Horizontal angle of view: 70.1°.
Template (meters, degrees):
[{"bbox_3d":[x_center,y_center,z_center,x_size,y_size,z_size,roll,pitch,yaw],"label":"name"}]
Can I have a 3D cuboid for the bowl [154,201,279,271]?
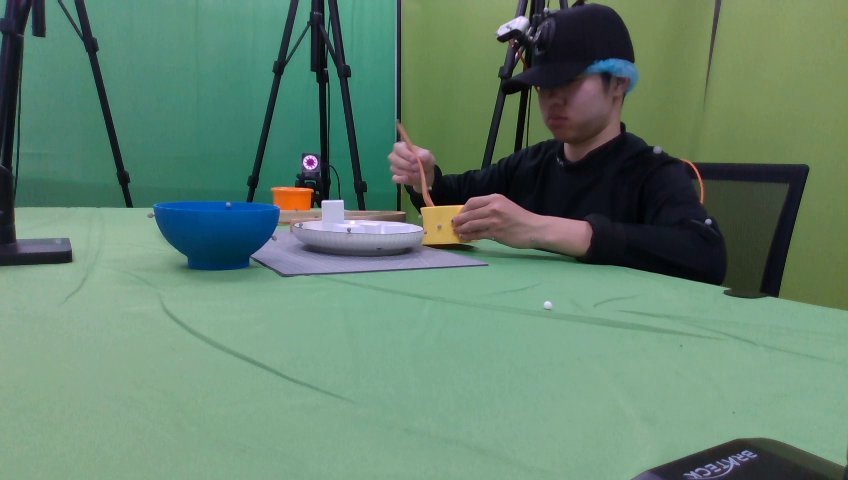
[{"bbox_3d":[-0.263,-0.005,0.773,0.151,0.077,0.151,3,8,0],"label":"bowl"}]

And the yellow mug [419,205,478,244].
[{"bbox_3d":[0.051,-0.027,1.042,0.100,0.064,0.130,-4,3,-30],"label":"yellow mug"}]

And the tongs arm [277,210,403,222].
[{"bbox_3d":[-0.206,-0.052,1.333,0.387,0.026,0.050,-2,8,-44],"label":"tongs arm"}]

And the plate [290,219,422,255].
[{"bbox_3d":[-0.108,-0.005,0.963,0.208,0.039,0.207,3,7,0],"label":"plate"}]

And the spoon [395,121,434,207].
[{"bbox_3d":[-0.010,-0.127,1.071,0.021,0.193,0.042,-22,-11,11],"label":"spoon"}]

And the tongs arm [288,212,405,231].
[{"bbox_3d":[-0.146,-0.041,1.280,0.028,0.028,0.389,2,5,33],"label":"tongs arm"}]
